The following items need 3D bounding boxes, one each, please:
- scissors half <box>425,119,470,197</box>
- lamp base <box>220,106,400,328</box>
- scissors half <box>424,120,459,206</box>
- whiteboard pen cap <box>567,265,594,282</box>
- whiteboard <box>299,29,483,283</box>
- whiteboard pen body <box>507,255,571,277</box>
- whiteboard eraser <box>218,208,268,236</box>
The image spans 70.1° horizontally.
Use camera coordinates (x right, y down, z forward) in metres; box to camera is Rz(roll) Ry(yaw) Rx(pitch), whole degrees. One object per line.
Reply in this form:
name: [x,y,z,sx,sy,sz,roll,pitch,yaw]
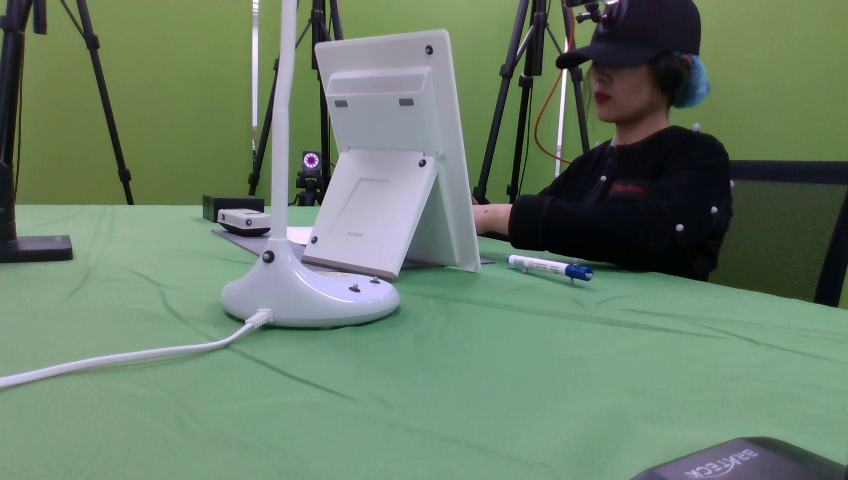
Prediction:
scissors half: [0.043,-0.152,1.128,0.040,0.176,0.012,-45,33,-17]
lamp base: [-0.101,-0.023,0.531,0.160,0.180,0.179,4,10,10]
scissors half: [0.029,-0.141,1.120,0.040,0.175,0.013,-33,28,-30]
whiteboard pen cap: [0.186,0.040,0.722,0.018,0.018,0.033,-2,6,-33]
whiteboard: [-0.074,-0.082,0.742,0.216,0.305,0.144,9,29,38]
whiteboard pen body: [0.155,0.034,0.772,0.017,0.017,0.140,-2,7,-31]
whiteboard eraser: [-0.309,-0.031,1.044,0.056,0.042,0.112,-2,9,-40]
